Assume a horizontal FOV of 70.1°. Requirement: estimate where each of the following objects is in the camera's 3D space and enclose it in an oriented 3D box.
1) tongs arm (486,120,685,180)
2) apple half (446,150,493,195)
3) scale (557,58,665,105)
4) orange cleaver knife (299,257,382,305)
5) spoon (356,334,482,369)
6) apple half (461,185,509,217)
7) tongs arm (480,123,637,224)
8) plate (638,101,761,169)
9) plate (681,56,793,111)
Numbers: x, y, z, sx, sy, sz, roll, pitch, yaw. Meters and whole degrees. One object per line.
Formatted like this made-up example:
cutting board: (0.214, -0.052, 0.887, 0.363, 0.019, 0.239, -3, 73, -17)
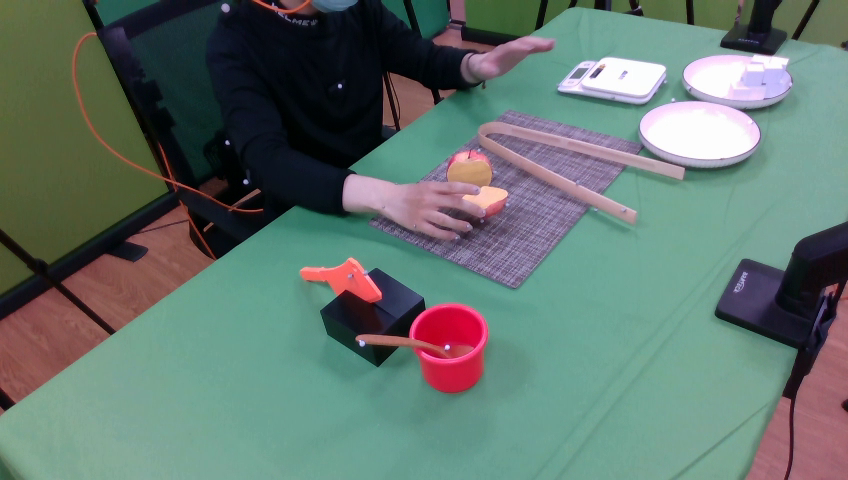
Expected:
tongs arm: (0.287, -0.170, 1.124, 0.384, 0.028, 0.028, 21, 52, 29)
apple half: (0.080, -0.124, 1.065, 0.081, 0.075, 0.053, -7, 37, 7)
scale: (0.407, -0.348, 1.314, 0.199, 0.032, 0.149, 19, 47, 28)
orange cleaver knife: (-0.124, 0.061, 0.872, 0.012, 0.077, 0.210, -38, 17, -30)
spoon: (-0.001, 0.130, 0.731, 0.195, 0.021, 0.041, 21, 28, -39)
apple half: (0.101, -0.058, 0.987, 0.081, 0.033, 0.081, -15, 28, 9)
tongs arm: (0.228, -0.128, 1.080, 0.051, 0.026, 0.381, -33, 46, -26)
plate: (0.500, -0.189, 1.111, 0.209, 0.038, 0.208, -4, 41, 4)
plate: (0.636, -0.317, 1.239, 0.207, 0.039, 0.206, -4, 40, 4)
